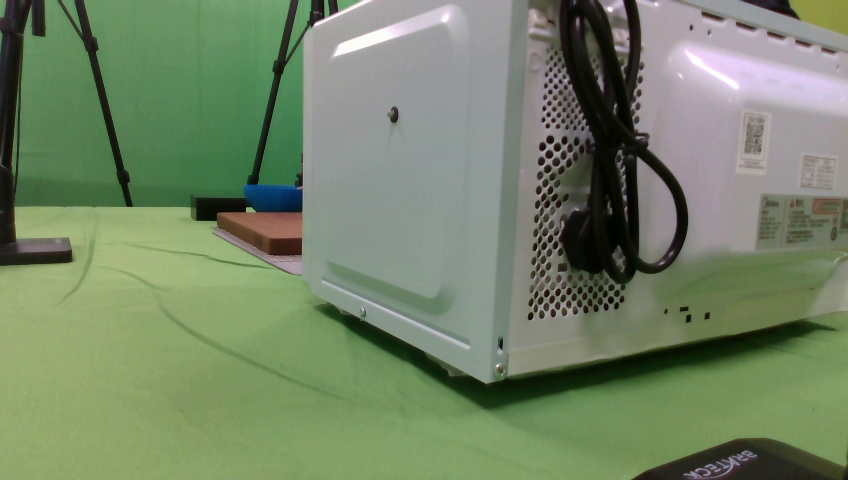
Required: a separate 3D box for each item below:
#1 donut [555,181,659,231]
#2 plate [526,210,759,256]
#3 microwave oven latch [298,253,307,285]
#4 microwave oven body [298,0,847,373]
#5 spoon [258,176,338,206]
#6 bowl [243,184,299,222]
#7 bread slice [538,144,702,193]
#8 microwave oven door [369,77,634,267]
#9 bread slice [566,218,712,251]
[{"bbox_3d":[0.180,-0.033,0.597,0.099,0.048,0.099,-2,8,1],"label":"donut"},{"bbox_3d":[0.203,-0.009,0.580,0.208,0.039,0.207,0,3,0],"label":"plate"},{"bbox_3d":[-0.082,0.027,0.583,0.079,0.029,0.030,-2,7,-33],"label":"microwave oven latch"},{"bbox_3d":[0.151,-0.055,0.543,0.444,0.260,0.324,-2,7,-33],"label":"microwave oven body"},{"bbox_3d":[-0.279,-0.112,1.357,0.194,0.021,0.041,-28,20,-26],"label":"spoon"},{"bbox_3d":[-0.322,-0.081,1.334,0.151,0.077,0.151,3,7,0],"label":"bowl"},{"bbox_3d":[0.191,-0.069,0.576,0.107,0.018,0.133,0,18,-32],"label":"bread slice"},{"bbox_3d":[0.094,-0.099,0.832,0.355,0.243,0.039,5,8,18],"label":"microwave oven door"},{"bbox_3d":[0.208,-0.007,0.575,0.105,0.019,0.131,1,7,-7],"label":"bread slice"}]
